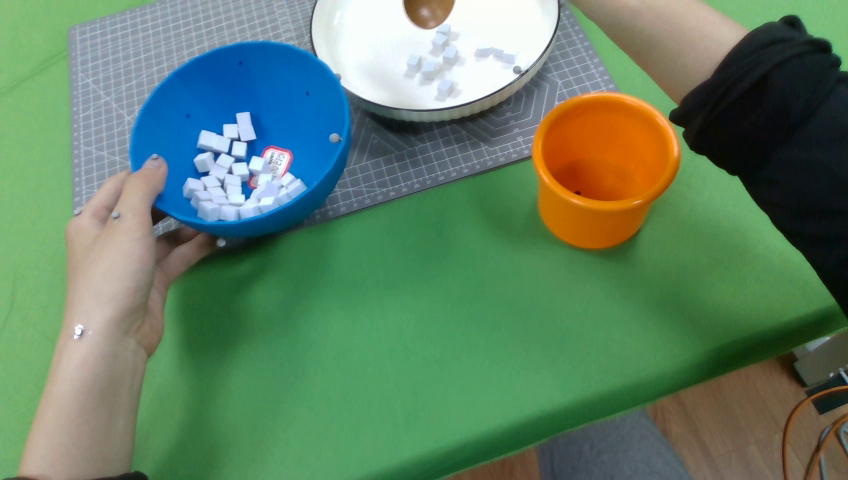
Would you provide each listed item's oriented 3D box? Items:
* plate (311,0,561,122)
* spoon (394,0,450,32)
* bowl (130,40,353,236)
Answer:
[{"bbox_3d":[0.010,-0.181,0.517,0.209,0.038,0.207,-3,64,5],"label":"plate"},{"bbox_3d":[0.018,-0.207,0.374,0.041,0.194,0.021,33,60,0],"label":"spoon"},{"bbox_3d":[-0.119,-0.060,0.439,0.151,0.077,0.150,-2,65,5],"label":"bowl"}]
